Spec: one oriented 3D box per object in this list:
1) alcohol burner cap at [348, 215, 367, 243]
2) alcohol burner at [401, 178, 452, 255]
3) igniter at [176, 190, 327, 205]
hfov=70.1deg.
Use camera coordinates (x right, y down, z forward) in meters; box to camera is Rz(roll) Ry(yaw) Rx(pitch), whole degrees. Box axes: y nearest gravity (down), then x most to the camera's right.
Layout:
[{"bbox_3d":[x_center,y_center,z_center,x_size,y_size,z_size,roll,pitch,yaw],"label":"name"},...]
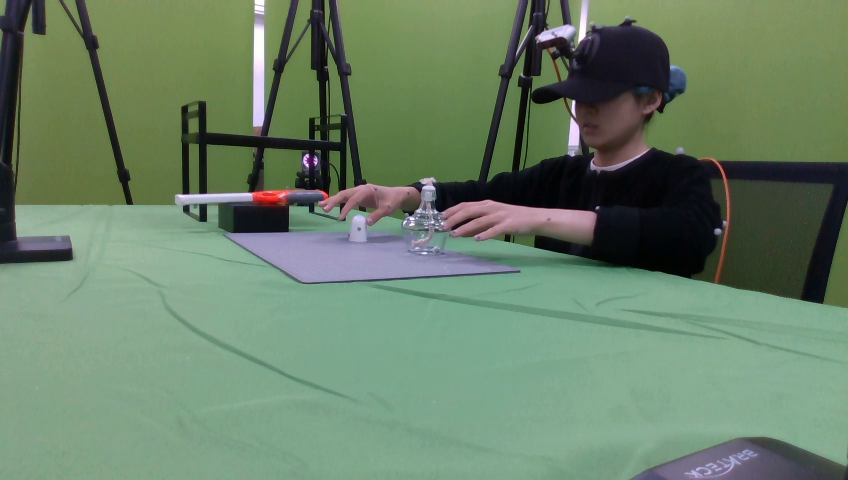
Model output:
[{"bbox_3d":[-0.113,-0.018,1.024,0.034,0.048,0.034,2,5,0],"label":"alcohol burner cap"},{"bbox_3d":[0.005,-0.036,0.923,0.078,0.119,0.078,5,7,0],"label":"alcohol burner"},{"bbox_3d":[-0.316,-0.080,1.137,0.278,0.025,0.057,-4,12,-33],"label":"igniter"}]
